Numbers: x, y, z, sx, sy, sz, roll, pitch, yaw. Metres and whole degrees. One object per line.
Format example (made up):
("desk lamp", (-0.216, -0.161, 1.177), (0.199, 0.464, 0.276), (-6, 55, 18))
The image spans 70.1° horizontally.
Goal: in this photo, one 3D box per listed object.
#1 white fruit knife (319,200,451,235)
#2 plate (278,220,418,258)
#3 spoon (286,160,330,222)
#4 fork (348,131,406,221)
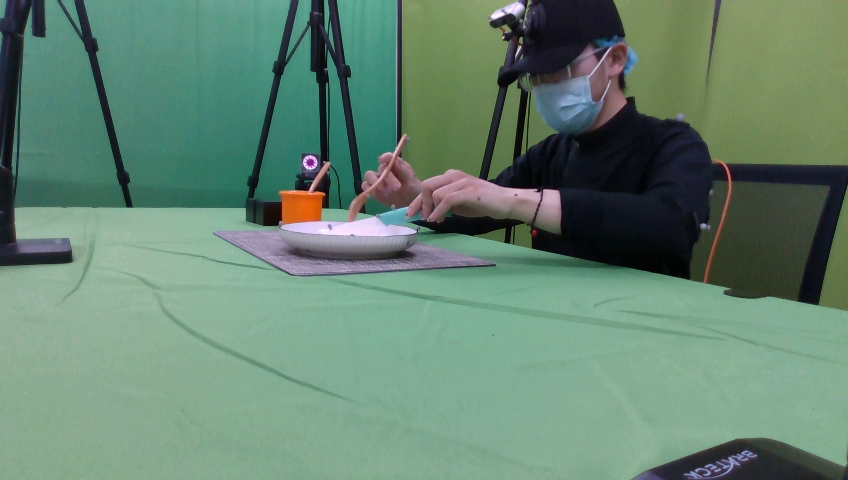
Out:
("white fruit knife", (-0.061, -0.030, 0.902), (0.207, 0.027, 0.016), (-12, 4, 13))
("plate", (-0.114, -0.002, 0.914), (0.209, 0.038, 0.209), (2, 7, 0))
("spoon", (-0.233, -0.101, 1.252), (0.041, 0.193, 0.022), (3, -38, 23))
("fork", (-0.076, -0.105, 1.005), (0.018, 0.207, 0.028), (20, -27, 23))
